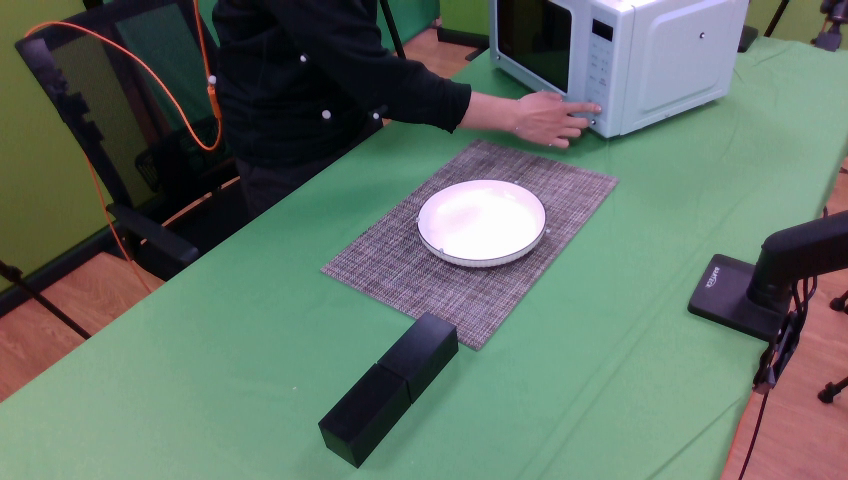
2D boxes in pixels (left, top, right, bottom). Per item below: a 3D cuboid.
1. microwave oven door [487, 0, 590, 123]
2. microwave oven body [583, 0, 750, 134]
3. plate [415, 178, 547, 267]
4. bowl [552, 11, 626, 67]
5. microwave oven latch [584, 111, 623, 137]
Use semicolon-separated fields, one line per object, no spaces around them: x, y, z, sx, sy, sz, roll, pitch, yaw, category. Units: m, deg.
0.232;-0.420;1.231;0.039;0.245;0.352;-22;43;-16;microwave oven door
0.382;-0.444;1.246;0.327;0.261;0.437;-22;42;-16;microwave oven body
0.091;-0.026;0.970;0.207;0.039;0.206;-4;41;4;plate
0.343;-0.418;1.278;0.151;0.077;0.150;-1;41;1;bowl
0.337;-0.222;1.142;0.030;0.029;0.078;-21;42;-14;microwave oven latch
